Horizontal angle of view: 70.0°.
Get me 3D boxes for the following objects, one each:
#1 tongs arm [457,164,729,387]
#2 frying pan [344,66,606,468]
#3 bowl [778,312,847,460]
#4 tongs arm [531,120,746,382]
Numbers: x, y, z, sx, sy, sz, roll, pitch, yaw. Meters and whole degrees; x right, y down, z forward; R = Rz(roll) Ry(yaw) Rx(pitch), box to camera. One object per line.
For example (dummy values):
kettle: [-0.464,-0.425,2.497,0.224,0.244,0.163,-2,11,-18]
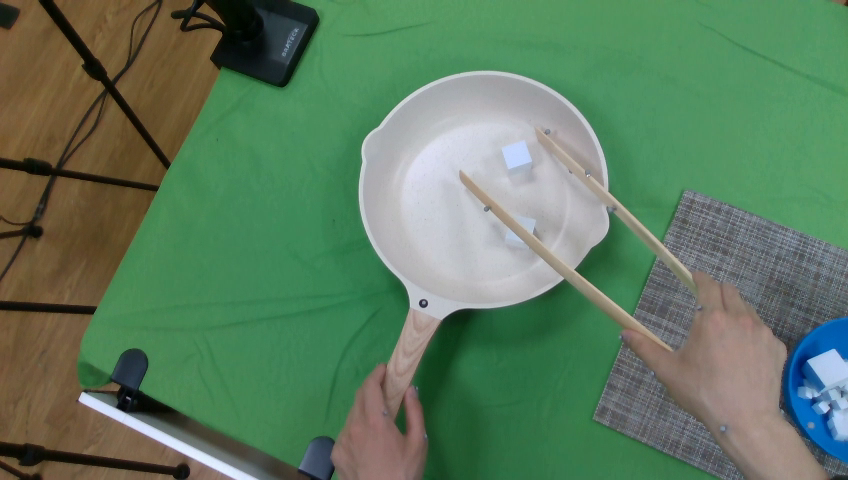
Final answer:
tongs arm: [0.146,0.018,0.632,0.028,0.028,0.383,-32,48,-13]
frying pan: [0.022,0.025,0.704,0.306,0.103,0.486,23,73,11]
bowl: [0.443,0.154,0.641,0.151,0.077,0.150,-1,78,6]
tongs arm: [0.199,-0.014,0.638,0.051,0.027,0.380,-29,48,-6]
